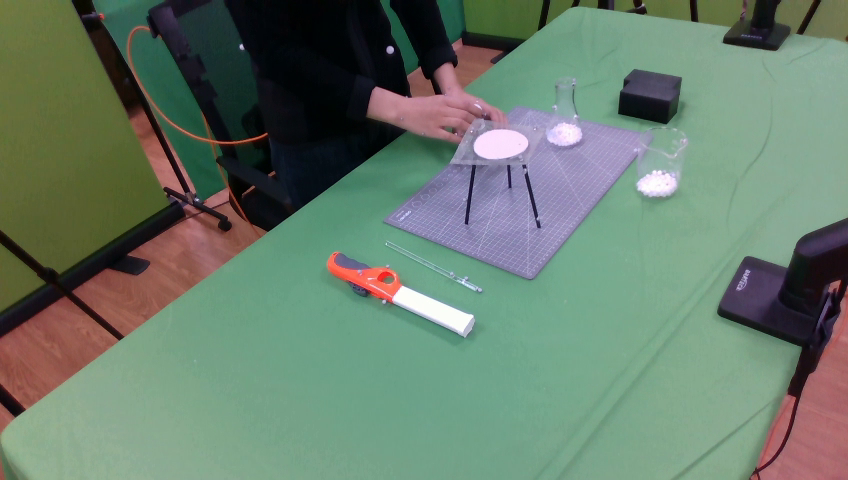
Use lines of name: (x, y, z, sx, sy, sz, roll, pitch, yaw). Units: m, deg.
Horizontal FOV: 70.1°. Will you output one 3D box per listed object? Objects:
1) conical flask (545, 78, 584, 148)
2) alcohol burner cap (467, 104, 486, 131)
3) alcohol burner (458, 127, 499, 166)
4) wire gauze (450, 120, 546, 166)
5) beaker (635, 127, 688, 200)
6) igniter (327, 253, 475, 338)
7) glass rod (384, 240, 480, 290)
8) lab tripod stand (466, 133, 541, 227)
conical flask: (0.264, -0.241, 1.135, 0.075, 0.122, 0.075, -6, 40, 5)
alcohol burner cap: (0.094, -0.225, 1.099, 0.034, 0.048, 0.033, -6, 48, 7)
alcohol burner: (0.099, -0.199, 1.125, 0.078, 0.120, 0.077, -6, 41, 6)
wire gauze: (0.117, -0.151, 0.943, 0.121, 0.011, 0.125, 9, 43, 21)
beaker: (0.388, -0.122, 0.994, 0.074, 0.101, 0.083, -8, 40, 2)
igniter: (-0.045, 0.077, 0.898, 0.274, 0.025, 0.057, 22, 60, 32)
glass rod: (0.009, 0.037, 0.949, 0.198, 0.008, 0.008, 26, 52, 34)
lab tripod stand: (0.129, -0.099, 0.985, 0.148, 0.132, 0.147, -7, 38, 6)
